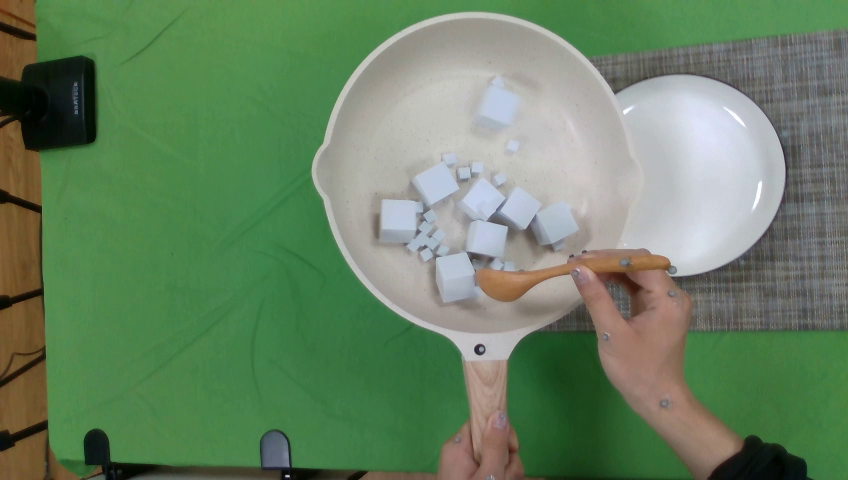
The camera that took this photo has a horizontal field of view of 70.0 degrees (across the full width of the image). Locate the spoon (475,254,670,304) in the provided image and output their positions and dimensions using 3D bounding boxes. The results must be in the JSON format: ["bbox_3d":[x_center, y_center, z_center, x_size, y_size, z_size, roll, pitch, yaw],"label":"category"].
[{"bbox_3d":[0.109,0.028,0.488,0.193,0.021,0.042,-18,116,49],"label":"spoon"}]

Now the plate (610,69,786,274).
[{"bbox_3d":[0.253,-0.068,0.625,0.207,0.039,0.207,0,89,15],"label":"plate"}]

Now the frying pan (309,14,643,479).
[{"bbox_3d":[0.052,0.048,0.550,0.308,0.103,0.486,1,81,-10],"label":"frying pan"}]
